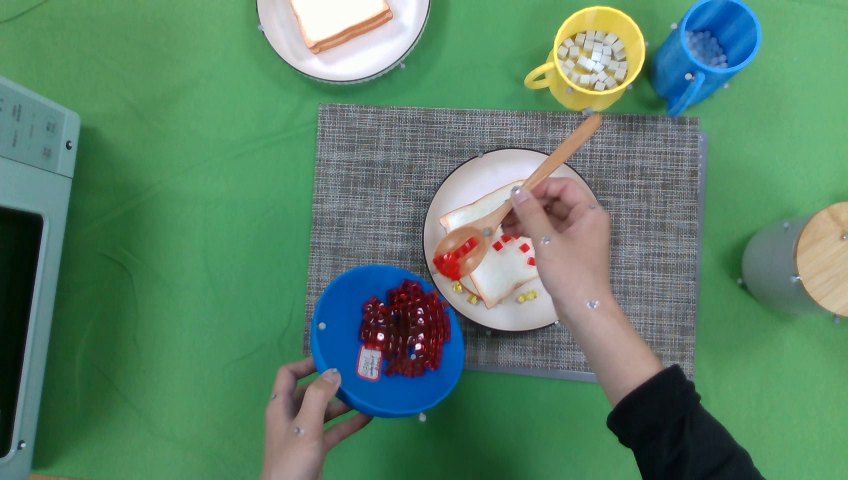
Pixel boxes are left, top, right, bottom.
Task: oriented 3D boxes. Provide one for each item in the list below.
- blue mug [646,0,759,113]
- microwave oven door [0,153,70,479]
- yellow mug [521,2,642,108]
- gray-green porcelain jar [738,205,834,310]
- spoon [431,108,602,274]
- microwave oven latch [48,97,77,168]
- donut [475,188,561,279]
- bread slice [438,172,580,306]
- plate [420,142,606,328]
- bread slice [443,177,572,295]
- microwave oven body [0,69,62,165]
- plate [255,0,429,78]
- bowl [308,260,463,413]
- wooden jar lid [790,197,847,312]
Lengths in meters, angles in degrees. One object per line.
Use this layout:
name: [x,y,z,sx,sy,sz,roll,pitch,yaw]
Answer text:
blue mug: [0.294,-0.193,0.664,0.082,0.106,0.116,25,87,5]
microwave oven door: [-0.461,0.083,0.594,0.039,0.244,0.355,5,86,4]
yellow mug: [0.175,-0.203,0.689,0.131,0.064,0.099,-17,84,3]
gray-green porcelain jar: [0.401,0.020,0.632,0.106,0.127,0.105,0,86,3]
spoon: [0.081,-0.042,0.523,0.194,0.021,0.041,-44,84,12]
microwave oven latch: [-0.430,-0.126,0.709,0.030,0.029,0.079,9,87,3]
donut: [0.103,-0.007,0.662,0.099,0.048,0.099,1,86,-15]
bread slice: [0.093,-0.012,0.631,0.134,0.018,0.107,-32,92,-7]
plate: [0.099,-0.006,0.689,0.209,0.038,0.208,0,86,3]
bread slice: [0.090,0.003,0.692,0.131,0.019,0.104,-29,84,-1]
microwave oven body: [-0.601,0.027,0.610,0.326,0.260,0.441,6,87,3]
plate: [-0.096,-0.292,0.723,0.207,0.039,0.207,0,86,3]
bowl: [-0.047,0.102,0.584,0.152,0.077,0.150,15,52,-20]
wooden jar lid: [0.397,0.013,0.570,0.108,0.021,0.108,0,89,1]
